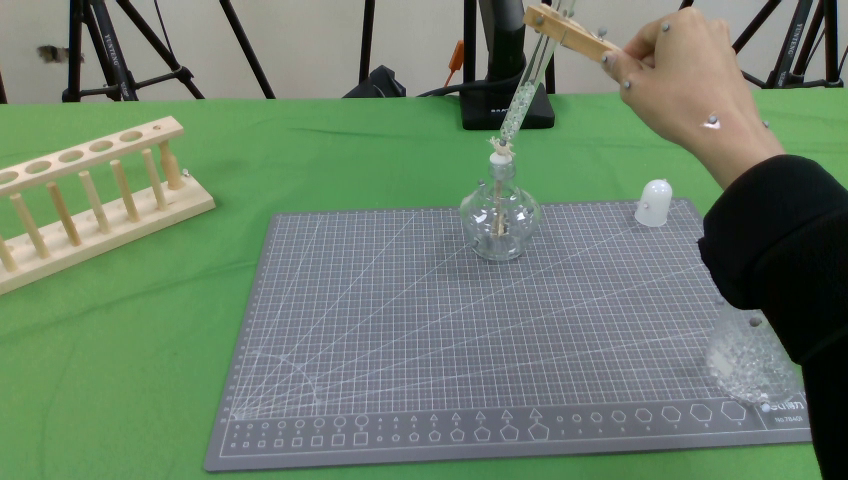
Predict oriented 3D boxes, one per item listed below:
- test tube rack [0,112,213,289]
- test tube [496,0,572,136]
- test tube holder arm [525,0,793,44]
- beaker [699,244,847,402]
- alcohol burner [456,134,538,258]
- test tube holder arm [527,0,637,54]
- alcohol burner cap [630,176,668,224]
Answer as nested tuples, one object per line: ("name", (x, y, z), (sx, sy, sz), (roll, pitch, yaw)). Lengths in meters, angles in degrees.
("test tube rack", (-0.343, -0.039, 0.592), (0.242, 0.086, 0.066), (-28, 47, -29))
("test tube", (0.088, -0.144, 0.471), (0.017, 0.151, 0.017), (12, 42, -10))
("test tube holder arm", (0.160, -0.159, 0.432), (0.177, 0.013, 0.015), (-2, 45, 25))
("beaker", (0.249, 0.062, 0.447), (0.074, 0.101, 0.083), (-21, 43, -23))
("alcohol burner", (0.068, -0.043, 0.565), (0.078, 0.120, 0.077), (-1, 38, 2))
("test tube holder arm", (0.119, -0.160, 0.448), (0.088, 0.010, 0.015), (21, 52, -2))
("alcohol burner cap", (0.231, -0.043, 0.619), (0.034, 0.048, 0.033), (0, 40, 1))
